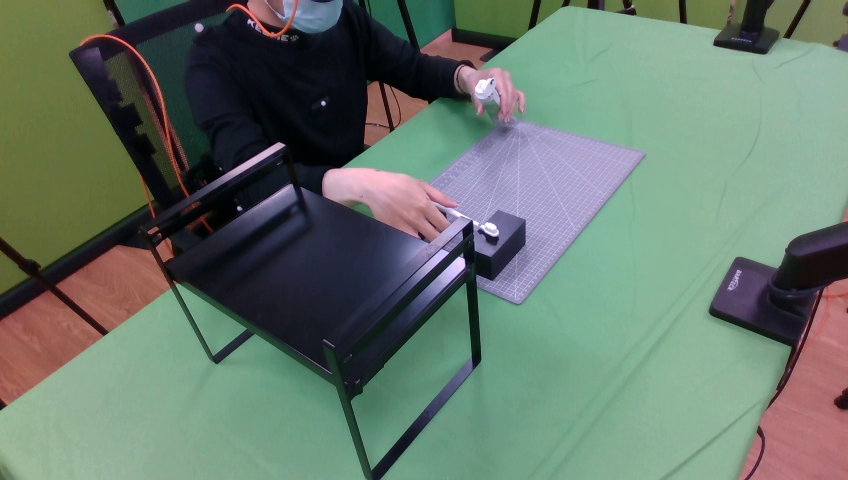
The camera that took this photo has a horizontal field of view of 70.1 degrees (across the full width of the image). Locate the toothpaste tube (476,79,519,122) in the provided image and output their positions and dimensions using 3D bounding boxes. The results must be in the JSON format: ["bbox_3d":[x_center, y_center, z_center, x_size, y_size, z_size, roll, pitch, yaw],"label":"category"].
[{"bbox_3d":[0.136,-0.261,1.152,0.055,0.166,0.034,11,82,24],"label":"toothpaste tube"}]

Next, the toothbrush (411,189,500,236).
[{"bbox_3d":[0.045,-0.046,0.940,0.180,0.017,0.014,28,65,36],"label":"toothbrush"}]

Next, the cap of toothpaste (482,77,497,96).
[{"bbox_3d":[0.115,-0.271,1.064,0.011,0.037,0.037,36,54,19],"label":"cap of toothpaste"}]
